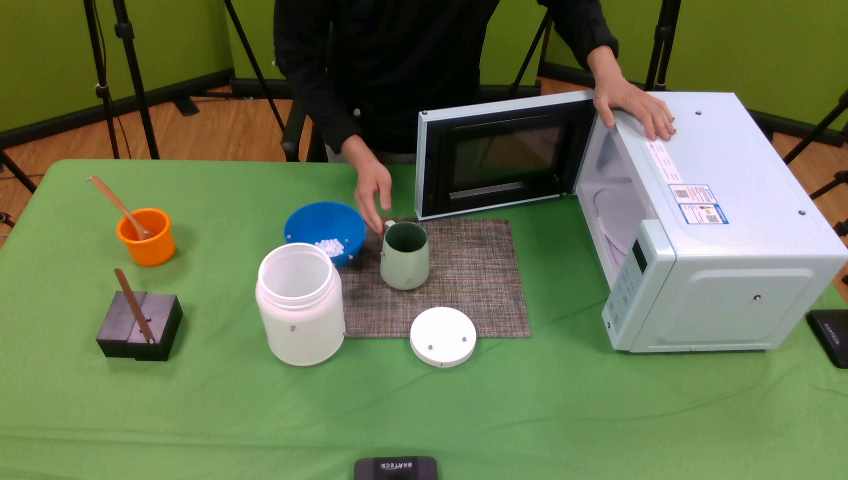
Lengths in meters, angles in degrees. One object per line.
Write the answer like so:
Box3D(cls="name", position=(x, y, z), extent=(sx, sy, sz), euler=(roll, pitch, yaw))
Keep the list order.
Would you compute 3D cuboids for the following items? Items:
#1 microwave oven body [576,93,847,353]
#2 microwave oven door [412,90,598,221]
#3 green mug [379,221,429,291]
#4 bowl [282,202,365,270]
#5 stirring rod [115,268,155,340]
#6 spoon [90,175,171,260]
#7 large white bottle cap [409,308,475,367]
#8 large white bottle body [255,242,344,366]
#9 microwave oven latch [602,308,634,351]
Box3D(cls="microwave oven body", position=(0.475, -0.041, 1.110), extent=(0.326, 0.261, 0.438), euler=(-1, 45, -4))
Box3D(cls="microwave oven door", position=(0.155, -0.166, 1.199), extent=(0.356, 0.245, 0.039), euler=(-10, 47, -14))
Box3D(cls="green mug", position=(-0.044, 0.020, 1.116), extent=(0.092, 0.105, 0.124), euler=(-20, 50, -22))
Box3D(cls="bowl", position=(-0.186, 0.006, 1.137), extent=(0.151, 0.077, 0.150), euler=(3, 46, -3))
Box3D(cls="stirring rod", position=(-0.479, 0.103, 0.999), extent=(0.014, 0.006, 0.175), euler=(8, 32, -50))
Box3D(cls="spoon", position=(-0.539, -0.042, 1.111), extent=(0.041, 0.194, 0.021), euler=(-46, 19, -32))
Box3D(cls="large white bottle cap", position=(0.031, 0.166, 1.041), extent=(0.115, 0.018, 0.114), euler=(2, 47, -2))
Box3D(cls="large white bottle body", position=(-0.196, 0.102, 0.967), extent=(0.131, 0.185, 0.130), euler=(2, 49, -2))
Box3D(cls="microwave oven latch", position=(0.332, 0.153, 1.044), extent=(0.030, 0.029, 0.078), euler=(-1, 45, -4))
